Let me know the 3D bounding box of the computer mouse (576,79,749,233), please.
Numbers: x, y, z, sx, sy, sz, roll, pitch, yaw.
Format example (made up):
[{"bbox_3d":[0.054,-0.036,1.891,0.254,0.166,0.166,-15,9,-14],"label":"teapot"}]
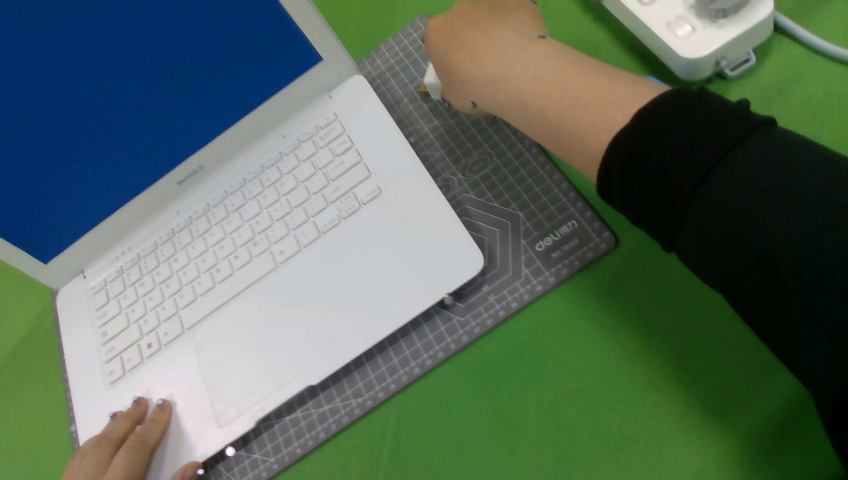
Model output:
[{"bbox_3d":[0.152,-0.061,0.398,0.063,0.041,0.116,-35,53,8],"label":"computer mouse"}]

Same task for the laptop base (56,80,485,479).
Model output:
[{"bbox_3d":[-0.147,0.041,0.496,0.354,0.023,0.233,-35,59,5],"label":"laptop base"}]

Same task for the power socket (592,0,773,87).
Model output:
[{"bbox_3d":[0.167,-0.201,0.461,0.072,0.033,0.224,-33,56,8],"label":"power socket"}]

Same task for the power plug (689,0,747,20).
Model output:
[{"bbox_3d":[0.213,-0.171,0.400,0.072,0.053,0.035,-23,61,12],"label":"power plug"}]

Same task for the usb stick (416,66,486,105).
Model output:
[{"bbox_3d":[0.018,-0.126,0.495,0.059,0.027,0.021,4,61,28],"label":"usb stick"}]

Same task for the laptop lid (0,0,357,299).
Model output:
[{"bbox_3d":[-0.254,-0.108,0.478,0.357,0.244,0.013,-36,43,6],"label":"laptop lid"}]
